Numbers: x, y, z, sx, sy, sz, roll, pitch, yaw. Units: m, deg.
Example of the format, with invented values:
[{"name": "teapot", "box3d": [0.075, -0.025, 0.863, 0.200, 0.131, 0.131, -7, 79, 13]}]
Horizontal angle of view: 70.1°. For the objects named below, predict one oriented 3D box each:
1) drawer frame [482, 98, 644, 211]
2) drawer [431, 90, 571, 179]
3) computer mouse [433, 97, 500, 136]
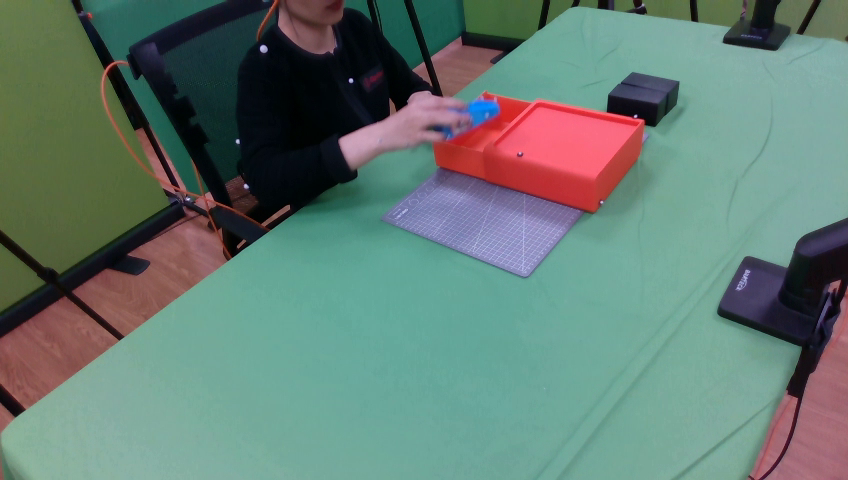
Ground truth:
[{"name": "drawer frame", "box3d": [0.246, -0.158, 1.071, 0.212, 0.083, 0.202, 21, 48, 30]}, {"name": "drawer", "box3d": [0.154, -0.192, 1.130, 0.210, 0.073, 0.195, 21, 48, 31]}, {"name": "computer mouse", "box3d": [0.070, -0.217, 1.031, 0.117, 0.041, 0.062, -24, 23, -6]}]
